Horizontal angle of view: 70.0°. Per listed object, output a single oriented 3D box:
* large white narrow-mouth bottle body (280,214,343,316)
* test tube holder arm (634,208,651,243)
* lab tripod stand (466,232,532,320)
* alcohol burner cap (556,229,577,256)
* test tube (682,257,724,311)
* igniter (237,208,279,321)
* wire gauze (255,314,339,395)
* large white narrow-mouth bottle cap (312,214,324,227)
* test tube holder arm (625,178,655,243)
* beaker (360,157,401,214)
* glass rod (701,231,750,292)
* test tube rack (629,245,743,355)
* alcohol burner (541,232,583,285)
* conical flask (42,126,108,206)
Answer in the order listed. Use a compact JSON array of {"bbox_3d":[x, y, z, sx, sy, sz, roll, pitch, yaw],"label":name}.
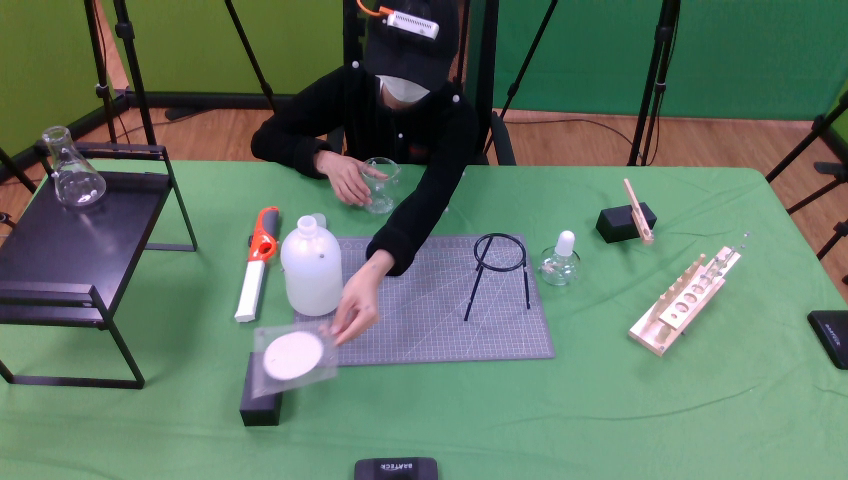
[{"bbox_3d":[-0.190,0.035,1.025,0.102,0.195,0.101,2,46,-2],"label":"large white narrow-mouth bottle body"},{"bbox_3d":[0.428,-0.030,1.189,0.010,0.015,0.087,1,47,-2],"label":"test tube holder arm"},{"bbox_3d":[0.125,0.059,1.065,0.148,0.132,0.147,1,45,0],"label":"lab tripod stand"},{"bbox_3d":[0.260,0.002,1.098,0.034,0.048,0.033,3,40,-2],"label":"alcohol burner cap"},{"bbox_3d":[0.475,0.080,1.037,0.017,0.151,0.017,2,50,-2],"label":"test tube"},{"bbox_3d":[-0.309,0.036,1.136,0.057,0.025,0.274,-7,45,4],"label":"igniter"},{"bbox_3d":[-0.186,0.162,0.886,0.121,0.011,0.124,-10,42,-5],"label":"wire gauze"},{"bbox_3d":[-0.219,-0.033,1.214,0.038,0.024,0.037,2,46,-2],"label":"large white narrow-mouth bottle cap"},{"bbox_3d":[0.433,-0.062,1.220,0.013,0.015,0.177,1,47,-3],"label":"test tube holder arm"},{"bbox_3d":[-0.088,-0.110,1.242,0.084,0.101,0.073,-8,47,-12],"label":"beaker"},{"bbox_3d":[0.519,0.045,1.050,0.008,0.201,0.008,0,55,0],"label":"glass rod"},{"bbox_3d":[0.474,0.095,1.091,0.242,0.085,0.066,-34,56,-31],"label":"test tube rack"},{"bbox_3d":[0.258,0.028,1.123,0.078,0.120,0.077,1,48,-1],"label":"alcohol burner"},{"bbox_3d":[-0.555,-0.119,0.953,0.075,0.122,0.075,2,46,-2],"label":"conical flask"}]
